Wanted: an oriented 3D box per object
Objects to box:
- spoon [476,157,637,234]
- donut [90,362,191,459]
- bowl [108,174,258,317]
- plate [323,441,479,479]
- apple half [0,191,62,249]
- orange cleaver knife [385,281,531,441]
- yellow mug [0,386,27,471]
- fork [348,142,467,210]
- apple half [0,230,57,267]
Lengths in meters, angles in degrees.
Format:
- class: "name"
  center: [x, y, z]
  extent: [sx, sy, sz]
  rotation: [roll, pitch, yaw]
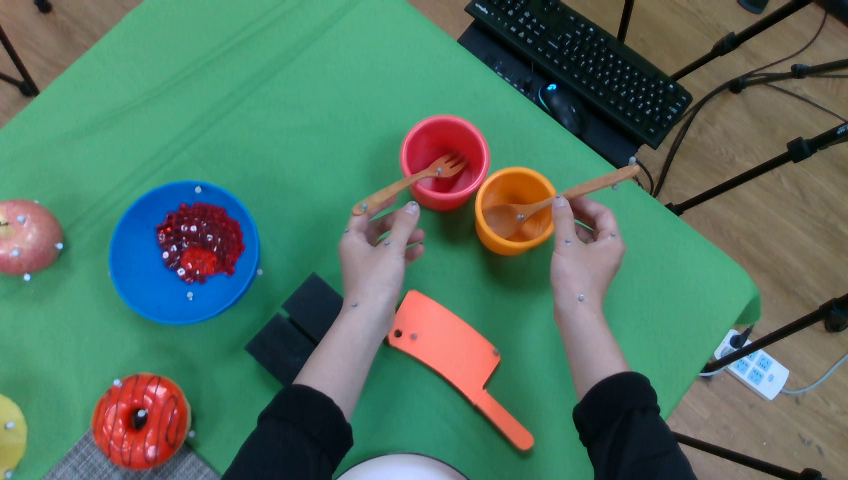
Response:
- class: "spoon"
  center: [0.136, -0.048, 0.648]
  extent: [0.022, 0.193, 0.041]
  rotation: [3, 72, -47]
- class: "donut"
  center: [-0.294, 0.177, 0.631]
  extent: [0.099, 0.048, 0.098]
  rotation: [1, 78, -3]
- class: "bowl"
  center: [-0.247, 0.012, 0.654]
  extent: [0.151, 0.077, 0.150]
  rotation: [1, 78, -2]
- class: "plate"
  center: [-0.024, 0.312, 0.620]
  extent: [0.209, 0.038, 0.208]
  rotation: [0, 78, -2]
- class: "apple half"
  center: [-0.434, -0.023, 0.656]
  extent: [0.081, 0.075, 0.053]
  rotation: [7, 71, 3]
- class: "orange cleaver knife"
  center: [0.046, 0.132, 0.672]
  extent: [0.210, 0.012, 0.077]
  rotation: [41, 73, 7]
- class: "yellow mug"
  center: [-0.477, 0.210, 0.608]
  extent: [0.100, 0.064, 0.130]
  rotation: [17, 78, 1]
- class: "fork"
  center: [-0.012, -0.071, 0.647]
  extent: [0.028, 0.019, 0.207]
  rotation: [48, 38, 7]
- class: "apple half"
  center: [-0.438, 0.014, 0.647]
  extent: [0.081, 0.081, 0.032]
  rotation: [7, 72, 0]
